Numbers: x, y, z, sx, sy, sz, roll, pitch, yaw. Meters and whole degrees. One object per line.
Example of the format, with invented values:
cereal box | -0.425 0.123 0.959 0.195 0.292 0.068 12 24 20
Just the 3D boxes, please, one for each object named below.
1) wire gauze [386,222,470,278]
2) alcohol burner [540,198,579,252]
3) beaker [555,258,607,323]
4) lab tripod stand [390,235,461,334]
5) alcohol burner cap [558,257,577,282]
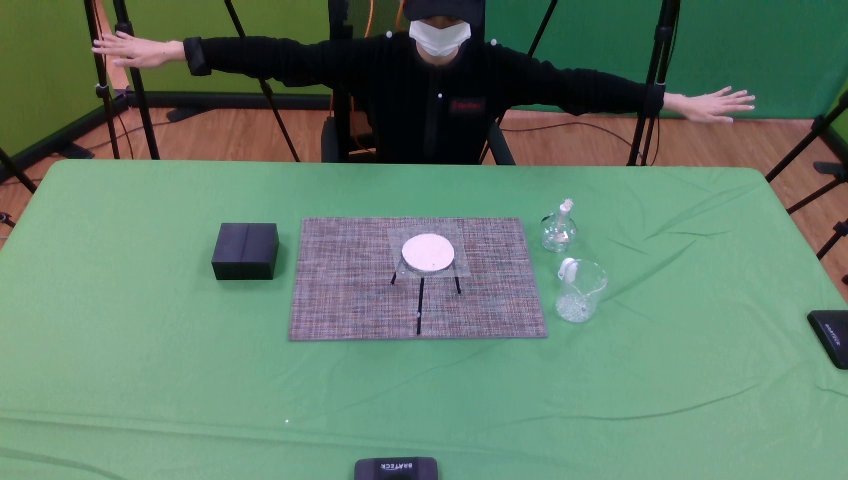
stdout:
wire gauze | 0.004 0.016 1.005 0.125 0.011 0.120 -5 46 -8
alcohol burner | 0.267 -0.035 1.187 0.078 0.120 0.077 1 45 -1
beaker | 0.275 0.094 1.073 0.074 0.101 0.083 10 47 6
lab tripod stand | -0.001 0.067 1.050 0.148 0.132 0.147 1 47 -1
alcohol burner cap | 0.276 0.053 1.154 0.034 0.048 0.033 2 46 -2
